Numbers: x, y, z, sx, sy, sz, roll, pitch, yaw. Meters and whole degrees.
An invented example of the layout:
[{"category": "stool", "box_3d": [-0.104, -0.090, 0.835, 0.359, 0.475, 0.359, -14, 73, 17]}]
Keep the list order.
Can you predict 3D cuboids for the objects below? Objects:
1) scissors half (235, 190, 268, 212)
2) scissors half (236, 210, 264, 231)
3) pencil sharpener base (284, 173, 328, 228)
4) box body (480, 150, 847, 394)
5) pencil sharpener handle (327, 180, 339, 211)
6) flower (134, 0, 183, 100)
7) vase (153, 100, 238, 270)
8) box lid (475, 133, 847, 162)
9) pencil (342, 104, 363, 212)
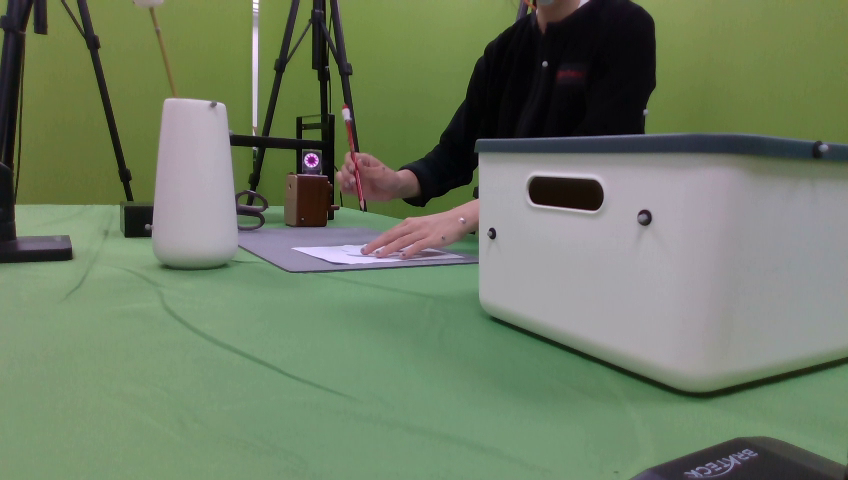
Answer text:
[{"category": "scissors half", "box_3d": [-0.363, -0.070, 1.060, 0.176, 0.040, 0.013, 0, 16, -23]}, {"category": "scissors half", "box_3d": [-0.369, -0.051, 1.065, 0.176, 0.040, 0.012, 19, 13, -27]}, {"category": "pencil sharpener base", "box_3d": [-0.239, -0.081, 1.231, 0.077, 0.107, 0.061, -2, 8, -36]}, {"category": "box body", "box_3d": [0.254, 0.002, 0.539, 0.366, 0.160, 0.253, -2, 8, -31]}, {"category": "pencil sharpener handle", "box_3d": [-0.194, -0.095, 1.256, 0.031, 0.067, 0.036, -2, -6, -36]}, {"category": "flower", "box_3d": [-0.282, -0.147, 0.713, 0.038, 0.362, 0.044, -23, 24, -31]}, {"category": "vase", "box_3d": [-0.278, -0.066, 0.736, 0.098, 0.200, 0.098, 2, 9, 0]}, {"category": "box lid", "box_3d": [0.256, -0.073, 0.528, 0.373, 0.015, 0.262, -2, 8, -31]}, {"category": "pencil", "box_3d": [-0.115, -0.134, 0.982, 0.012, 0.193, 0.012, -10, -18, -3]}]
